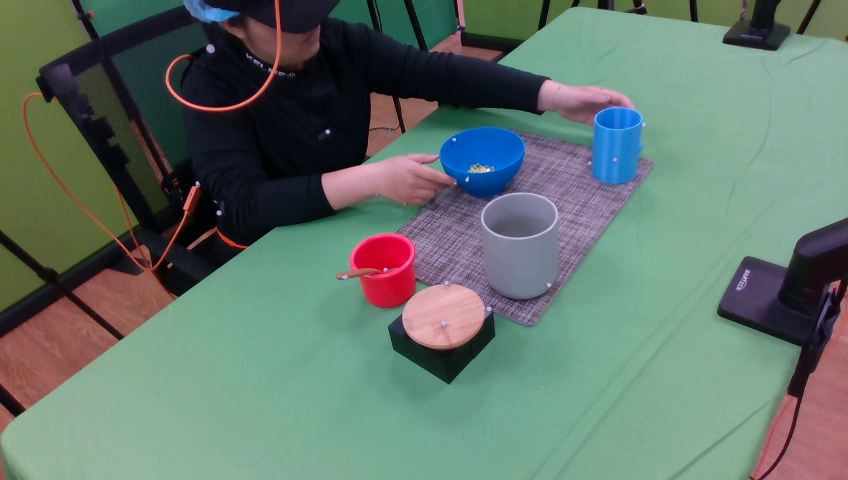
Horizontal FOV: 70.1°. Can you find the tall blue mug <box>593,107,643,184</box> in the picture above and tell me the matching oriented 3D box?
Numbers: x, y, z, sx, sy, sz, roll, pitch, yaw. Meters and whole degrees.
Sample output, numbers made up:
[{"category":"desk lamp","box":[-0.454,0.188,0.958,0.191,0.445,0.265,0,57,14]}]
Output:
[{"category":"tall blue mug","box":[0.330,-0.172,1.052,0.078,0.108,0.106,-12,40,0]}]

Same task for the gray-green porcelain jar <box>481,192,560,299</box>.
[{"category":"gray-green porcelain jar","box":[0.139,0.012,0.858,0.106,0.127,0.105,-6,40,5]}]

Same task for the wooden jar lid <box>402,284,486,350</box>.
[{"category":"wooden jar lid","box":[0.027,0.101,0.786,0.108,0.021,0.108,-5,39,4]}]

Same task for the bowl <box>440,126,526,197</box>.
[{"category":"bowl","box":[0.106,-0.129,1.070,0.151,0.077,0.150,-5,40,5]}]

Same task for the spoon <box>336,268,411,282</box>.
[{"category":"spoon","box":[-0.071,0.047,0.850,0.041,0.195,0.021,19,93,24]}]
